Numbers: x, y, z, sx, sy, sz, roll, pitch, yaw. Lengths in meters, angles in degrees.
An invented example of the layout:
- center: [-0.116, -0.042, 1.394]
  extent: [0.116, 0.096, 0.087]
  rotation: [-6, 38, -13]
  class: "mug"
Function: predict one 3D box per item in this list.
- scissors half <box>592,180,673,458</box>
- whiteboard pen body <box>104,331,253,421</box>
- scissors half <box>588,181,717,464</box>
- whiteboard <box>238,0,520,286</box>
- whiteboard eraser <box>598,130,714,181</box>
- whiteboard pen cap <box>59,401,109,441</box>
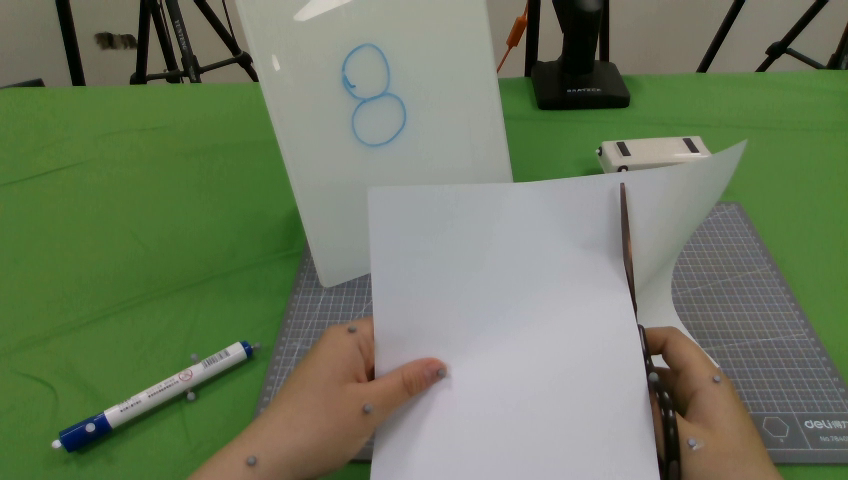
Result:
- center: [0.123, 0.049, 0.376]
  extent: [0.013, 0.175, 0.040]
  rotation: [-12, 1, -26]
  class: "scissors half"
- center: [-0.200, 0.109, 0.470]
  extent: [0.141, 0.017, 0.017]
  rotation: [-28, 47, -28]
  class: "whiteboard pen body"
- center: [0.130, 0.043, 0.358]
  extent: [0.013, 0.040, 0.174]
  rotation: [-13, 72, -21]
  class: "scissors half"
- center: [-0.053, -0.149, 0.592]
  extent: [0.217, 0.307, 0.142]
  rotation: [-19, 23, -18]
  class: "whiteboard"
- center: [0.253, -0.092, 0.667]
  extent: [0.113, 0.042, 0.055]
  rotation: [-2, 43, 0]
  class: "whiteboard eraser"
- center: [-0.246, 0.131, 0.443]
  extent: [0.033, 0.018, 0.018]
  rotation: [-28, 47, -28]
  class: "whiteboard pen cap"
